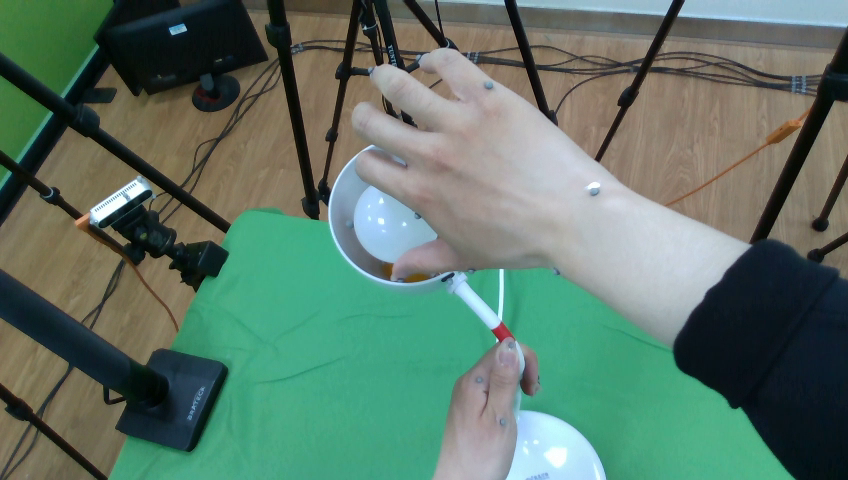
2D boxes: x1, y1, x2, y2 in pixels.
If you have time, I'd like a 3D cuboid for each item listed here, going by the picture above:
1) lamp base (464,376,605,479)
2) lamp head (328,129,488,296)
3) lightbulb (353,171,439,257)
[{"bbox_3d":[0.111,0.224,0.641,0.161,0.182,0.177,-26,57,-7],"label":"lamp base"},{"bbox_3d":[-0.005,-0.007,0.467,0.112,0.124,0.111,-2,69,7],"label":"lamp head"},{"bbox_3d":[-0.016,-0.013,0.442,0.059,0.108,0.059,-2,78,8],"label":"lightbulb"}]
